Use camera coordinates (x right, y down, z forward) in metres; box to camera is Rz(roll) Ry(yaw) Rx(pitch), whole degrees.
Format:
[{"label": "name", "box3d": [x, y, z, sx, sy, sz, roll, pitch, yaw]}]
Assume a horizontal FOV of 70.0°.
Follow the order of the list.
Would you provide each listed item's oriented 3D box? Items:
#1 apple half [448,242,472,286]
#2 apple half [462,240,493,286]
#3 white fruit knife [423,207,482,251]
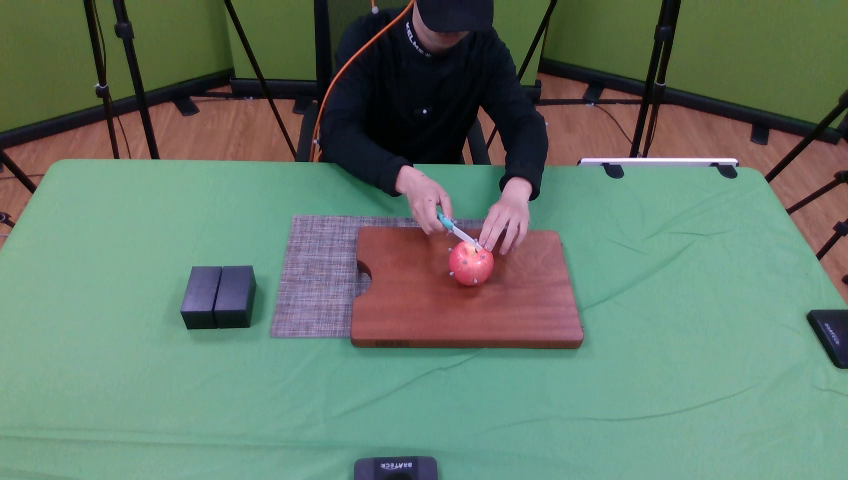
[{"label": "apple half", "box3d": [0.059, 0.046, 1.084, 0.033, 0.081, 0.080, -3, 46, -14]}, {"label": "apple half", "box3d": [0.096, 0.042, 1.093, 0.053, 0.075, 0.080, -3, 42, -14]}, {"label": "white fruit knife", "box3d": [0.050, -0.022, 1.103, 0.016, 0.027, 0.206, -32, 34, -15]}]
